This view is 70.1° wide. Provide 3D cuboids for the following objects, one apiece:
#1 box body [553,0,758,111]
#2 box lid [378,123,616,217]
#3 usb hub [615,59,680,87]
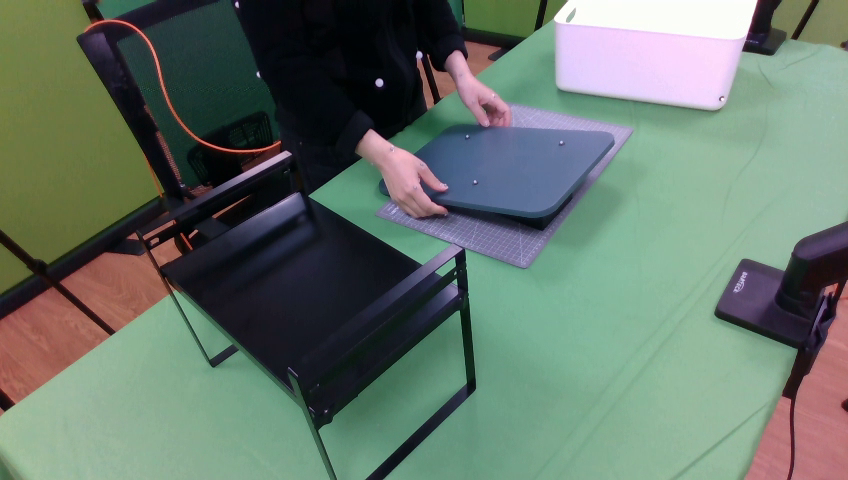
[{"bbox_3d":[0.481,-0.417,1.282,0.362,0.161,0.254,15,46,24],"label":"box body"},{"bbox_3d":[0.119,-0.137,1.071,0.368,0.015,0.264,12,42,38],"label":"box lid"},{"bbox_3d":[0.484,-0.363,1.311,0.124,0.025,0.049,21,46,27],"label":"usb hub"}]
